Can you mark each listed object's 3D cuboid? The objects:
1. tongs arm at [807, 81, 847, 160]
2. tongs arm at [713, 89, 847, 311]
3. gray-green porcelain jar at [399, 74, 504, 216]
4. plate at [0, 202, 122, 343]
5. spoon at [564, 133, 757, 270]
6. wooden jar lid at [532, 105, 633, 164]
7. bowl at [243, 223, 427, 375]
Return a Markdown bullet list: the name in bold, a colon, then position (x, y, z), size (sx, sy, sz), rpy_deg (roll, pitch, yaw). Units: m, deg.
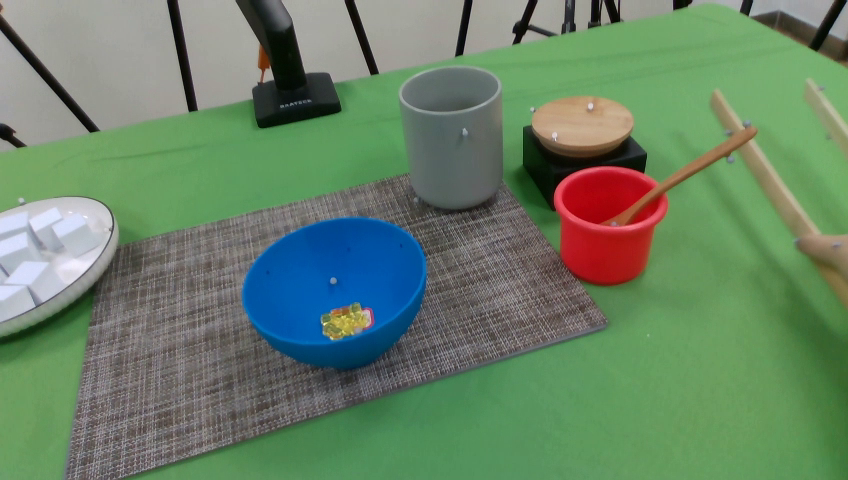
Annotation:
- **tongs arm**: position (0.401, -0.032, 0.549), size (0.051, 0.027, 0.381), rpy_deg (-2, 45, 6)
- **tongs arm**: position (0.345, -0.028, 0.555), size (0.028, 0.028, 0.383), rpy_deg (-3, 45, -1)
- **gray-green porcelain jar**: position (0.033, -0.098, 0.653), size (0.106, 0.128, 0.105), rpy_deg (-4, 40, 4)
- **plate**: position (-0.418, 0.036, 0.631), size (0.209, 0.038, 0.207), rpy_deg (-5, 40, 4)
- **spoon**: position (0.205, -0.031, 0.540), size (0.194, 0.022, 0.041), rpy_deg (-42, 29, 29)
- **wooden jar lid**: position (0.173, -0.116, 0.666), size (0.108, 0.021, 0.107), rpy_deg (-5, 40, 4)
- **bowl**: position (-0.068, 0.061, 0.515), size (0.151, 0.077, 0.150), rpy_deg (-4, 39, 4)
